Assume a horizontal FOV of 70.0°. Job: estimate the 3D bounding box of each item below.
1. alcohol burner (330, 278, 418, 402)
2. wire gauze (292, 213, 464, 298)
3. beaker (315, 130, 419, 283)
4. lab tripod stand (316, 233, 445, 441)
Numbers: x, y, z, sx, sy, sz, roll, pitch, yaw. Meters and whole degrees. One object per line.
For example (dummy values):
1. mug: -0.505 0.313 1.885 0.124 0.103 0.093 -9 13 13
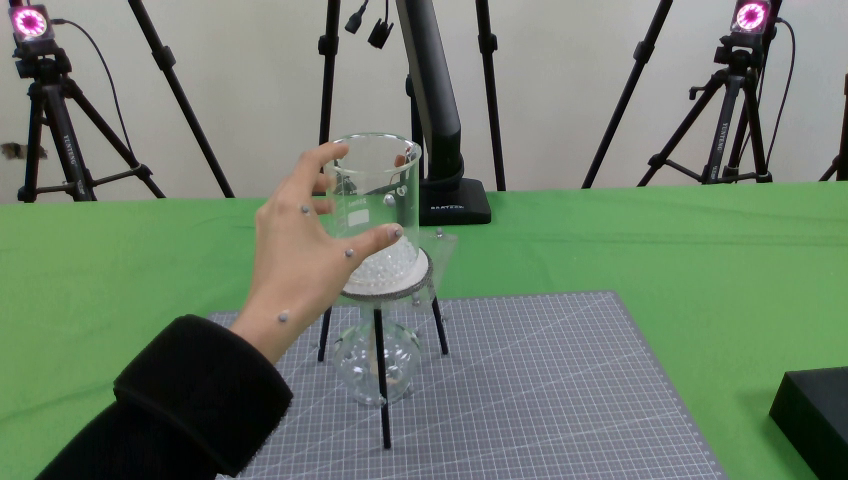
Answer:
1. alcohol burner: -0.044 0.083 0.529 0.078 0.120 0.077 2 31 -1
2. wire gauze: -0.036 0.008 0.476 0.125 0.011 0.120 1 28 -9
3. beaker: -0.038 -0.025 0.466 0.084 0.101 0.073 -24 40 -34
4. lab tripod stand: -0.037 0.074 0.524 0.148 0.132 0.147 2 33 -1
